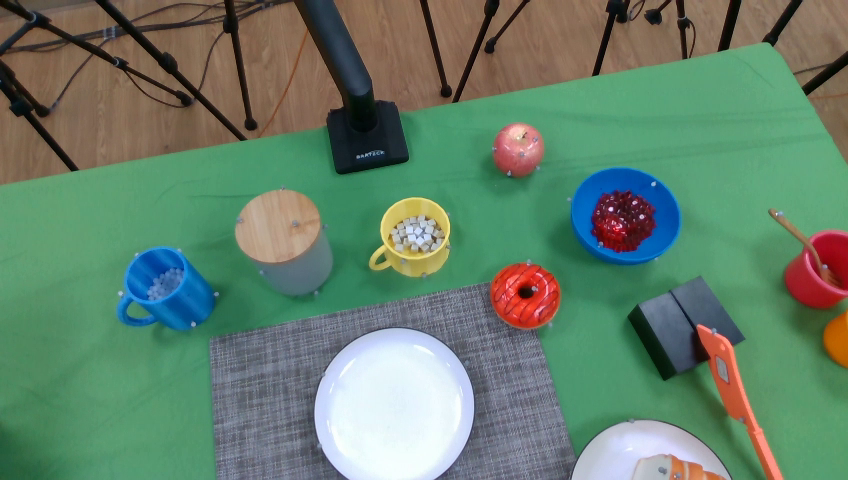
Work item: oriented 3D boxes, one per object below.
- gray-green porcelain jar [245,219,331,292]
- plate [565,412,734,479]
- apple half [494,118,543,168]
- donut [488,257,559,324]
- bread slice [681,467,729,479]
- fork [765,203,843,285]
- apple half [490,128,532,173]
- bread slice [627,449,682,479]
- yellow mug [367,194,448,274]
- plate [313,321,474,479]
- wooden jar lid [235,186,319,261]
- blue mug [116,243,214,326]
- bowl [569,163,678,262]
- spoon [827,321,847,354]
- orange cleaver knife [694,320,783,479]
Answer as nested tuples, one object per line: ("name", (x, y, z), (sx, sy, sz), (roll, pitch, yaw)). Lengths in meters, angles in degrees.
("gray-green porcelain jar", (-0.188, 0.009, 0.841), (0.106, 0.127, 0.105), (0, 64, 1))
("plate", (0.272, 0.318, 0.734), (0.209, 0.038, 0.207), (0, 65, 1))
("apple half", (0.152, -0.152, 0.940), (0.053, 0.075, 0.080), (-40, 66, -22))
("donut", (0.138, 0.071, 0.846), (0.099, 0.048, 0.098), (0, 65, 1))
("bread slice", (0.300, 0.307, 0.679), (0.019, 0.132, 0.104), (25, 70, 7))
("fork", (0.515, 0.006, 0.816), (0.209, 0.018, 0.028), (35, 61, -28))
("apple half", (0.125, -0.127, 0.927), (0.081, 0.082, 0.033), (41, 67, 19))
("bread slice", (0.254, 0.288, 0.689), (0.018, 0.135, 0.106), (22, 63, 9))
("yellow mug", (-0.027, -0.001, 0.876), (0.131, 0.064, 0.099), (-33, 68, -13))
("plate", (-0.039, 0.210, 0.787), (0.208, 0.039, 0.206), (0, 65, 1))
("wooden jar lid", (-0.189, -0.019, 0.785), (0.108, 0.021, 0.107), (-1, 63, 2))
("blue mug", (-0.358, 0.072, 0.824), (0.116, 0.106, 0.081), (-35, 68, -14))
("bowl", (0.279, -0.028, 0.876), (0.151, 0.077, 0.150), (0, 65, 1))
("spoon", (0.617, 0.093, 0.773), (0.022, 0.194, 0.041), (9, 52, -46))
("orange cleaver knife", (0.392, 0.200, 0.763), (0.012, 0.077, 0.211), (-22, 89, -5))
